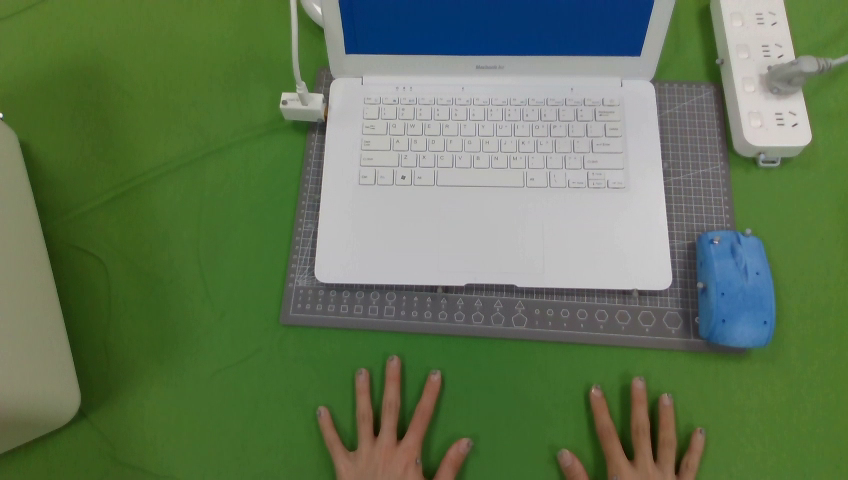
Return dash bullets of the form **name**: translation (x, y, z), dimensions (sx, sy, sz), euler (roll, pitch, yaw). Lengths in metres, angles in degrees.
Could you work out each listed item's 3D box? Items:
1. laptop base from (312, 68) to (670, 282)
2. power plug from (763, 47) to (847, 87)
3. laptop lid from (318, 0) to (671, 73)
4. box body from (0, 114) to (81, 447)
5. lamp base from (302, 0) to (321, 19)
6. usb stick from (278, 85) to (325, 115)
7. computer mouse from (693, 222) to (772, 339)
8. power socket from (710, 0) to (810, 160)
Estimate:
- **laptop base**: translation (0.068, -0.071, 0.633), dimensions (0.354, 0.023, 0.234), euler (1, 75, 2)
- **power plug**: translation (0.389, -0.172, 0.626), dimensions (0.072, 0.053, 0.035), euler (11, 71, 3)
- **laptop lid**: translation (0.068, -0.261, 0.580), dimensions (0.356, 0.244, 0.013), euler (0, 48, 3)
- **box body**: translation (-0.496, 0.034, 0.539), dimensions (0.254, 0.161, 0.361), euler (-23, 73, -6)
- **lamp base**: translation (-0.082, -0.349, 0.643), dimensions (0.160, 0.181, 0.178), euler (-35, 71, -10)
- **usb stick**: translation (-0.124, -0.150, 0.650), dimensions (0.059, 0.027, 0.021), euler (5, 67, 1)
- **computer mouse**: translation (0.294, 0.036, 0.579), dimensions (0.063, 0.041, 0.116), euler (6, 68, 5)
- **power socket**: translation (0.361, -0.196, 0.658), dimensions (0.072, 0.033, 0.225), euler (1, 72, 1)
